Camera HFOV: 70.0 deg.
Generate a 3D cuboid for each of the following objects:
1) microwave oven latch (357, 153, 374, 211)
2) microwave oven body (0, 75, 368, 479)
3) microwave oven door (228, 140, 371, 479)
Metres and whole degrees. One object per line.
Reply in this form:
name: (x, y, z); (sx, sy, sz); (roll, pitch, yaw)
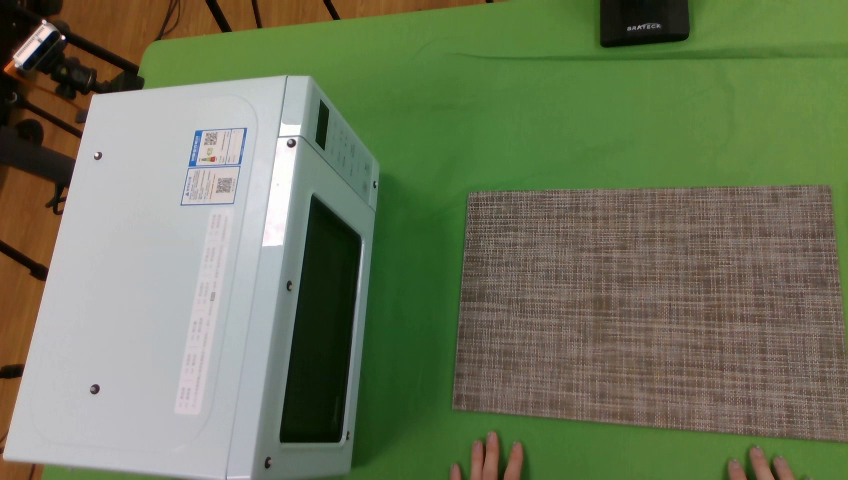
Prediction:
microwave oven latch: (-0.089, -0.083, 0.870); (0.030, 0.030, 0.078); (0, 73, 15)
microwave oven body: (-0.269, 0.059, 0.769); (0.325, 0.262, 0.439); (-1, 73, 15)
microwave oven door: (-0.132, 0.094, 0.714); (0.039, 0.246, 0.353); (-2, 72, 16)
